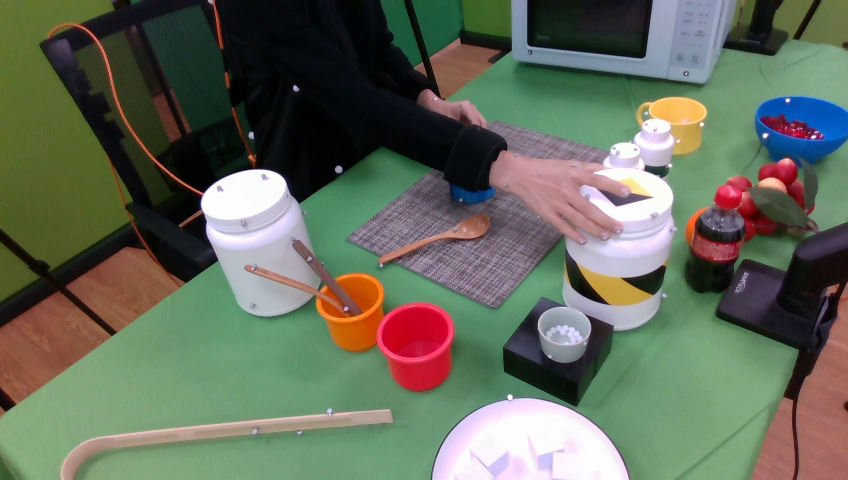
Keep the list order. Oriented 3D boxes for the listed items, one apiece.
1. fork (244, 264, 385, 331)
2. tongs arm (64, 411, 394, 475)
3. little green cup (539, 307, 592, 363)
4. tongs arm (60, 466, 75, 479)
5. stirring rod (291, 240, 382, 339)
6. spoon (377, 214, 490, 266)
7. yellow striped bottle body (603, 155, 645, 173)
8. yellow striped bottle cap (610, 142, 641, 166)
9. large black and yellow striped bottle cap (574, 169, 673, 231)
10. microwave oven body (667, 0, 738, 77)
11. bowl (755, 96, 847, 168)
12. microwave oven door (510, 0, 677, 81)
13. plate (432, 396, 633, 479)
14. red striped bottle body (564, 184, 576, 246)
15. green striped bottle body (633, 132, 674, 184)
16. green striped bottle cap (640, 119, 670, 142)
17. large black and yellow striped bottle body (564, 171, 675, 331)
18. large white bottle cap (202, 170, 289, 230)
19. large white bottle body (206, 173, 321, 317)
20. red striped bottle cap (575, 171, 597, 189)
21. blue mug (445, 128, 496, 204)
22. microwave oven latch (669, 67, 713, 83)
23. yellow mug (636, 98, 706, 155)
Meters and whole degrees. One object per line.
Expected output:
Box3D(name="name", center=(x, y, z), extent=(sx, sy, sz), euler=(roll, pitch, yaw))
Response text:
Box3D(name="fork", center=(-0.142, 0.078, 0.806), extent=(0.209, 0.018, 0.028), euler=(30, 34, -24))
Box3D(name="tongs arm", center=(-0.228, 0.240, 0.715), extent=(0.385, 0.026, 0.050), euler=(-4, 43, 5))
Box3D(name="little green cup", center=(0.168, 0.115, 0.721), extent=(0.061, 0.039, 0.061), euler=(-4, 42, 4))
Box3D(name="tongs arm", center=(-0.240, 0.300, 0.649), extent=(0.386, 0.028, 0.028), euler=(6, 49, 17))
Box3D(name="stirring rod", center=(-0.119, 0.068, 0.826), extent=(0.176, 0.006, 0.014), euler=(49, 60, -4))
Box3D(name="spoon", center=(0.016, 0.002, 0.966), extent=(0.194, 0.022, 0.041), euler=(-19, 63, -12))
Box3D(name="yellow striped bottle body", center=(0.314, -0.090, 0.957), extent=(0.063, 0.121, 0.062), euler=(-4, 40, 4))
Box3D(name="yellow striped bottle cap", center=(0.308, -0.131, 0.925), extent=(0.044, 0.019, 0.044), euler=(-4, 45, 5))
Box3D(name="large black and yellow striped bottle cap", center=(0.243, -0.051, 0.738), extent=(0.115, 0.019, 0.114), euler=(-3, 37, 3))
Box3D(name="microwave oven body", center=(0.462, -0.552, 1.369), extent=(0.439, 0.261, 0.326), euler=(15, 45, 26))
Box3D(name="bowl", center=(0.645, -0.177, 1.041), extent=(0.151, 0.077, 0.150), euler=(-5, 40, 4))
Box3D(name="microwave oven door", center=(0.354, -0.478, 1.290), extent=(0.353, 0.245, 0.039), euler=(15, 45, 25))
Box3D(name="plate", center=(0.112, 0.261, 0.634), extent=(0.209, 0.038, 0.208), euler=(-5, 40, 4))
Box3D(name="red striped bottle body", center=(0.247, -0.041, 0.910), extent=(0.063, 0.120, 0.062), euler=(-2, 40, 2))
Box3D(name="green striped bottle body", center=(0.376, -0.135, 1.001), extent=(0.063, 0.120, 0.063), euler=(-5, 40, 5))
Box3D(name="green striped bottle cap", center=(0.370, -0.174, 0.968), extent=(0.044, 0.020, 0.044), euler=(-3, 41, 3))
Box3D(name="large black and yellow striped bottle body", center=(0.254, 0.014, 0.793), extent=(0.131, 0.185, 0.130), euler=(-5, 40, 4))
Box3D(name="large white bottle cap", center=(-0.242, -0.056, 0.822), extent=(0.115, 0.018, 0.114), euler=(-4, 40, 4))
Box3D(name="large white bottle body", center=(-0.233, 0.007, 0.876), extent=(0.130, 0.185, 0.130), euler=(-5, 40, 4))
Box3D(name="red striped bottle cap", center=(0.242, -0.082, 0.876), extent=(0.044, 0.018, 0.044), euler=(-5, 44, 5))
Box3D(name="blue mug", center=(0.083, -0.139, 1.058), extent=(0.082, 0.106, 0.116), euler=(-2, 40, 7))
Box3D(name="microwave oven latch", center=(0.556, -0.348, 1.261), extent=(0.078, 0.029, 0.030), euler=(16, 46, 27))
Box3D(name="yellow mug", center=(0.453, -0.217, 1.128), extent=(0.100, 0.064, 0.129), euler=(-34, 46, -27))
